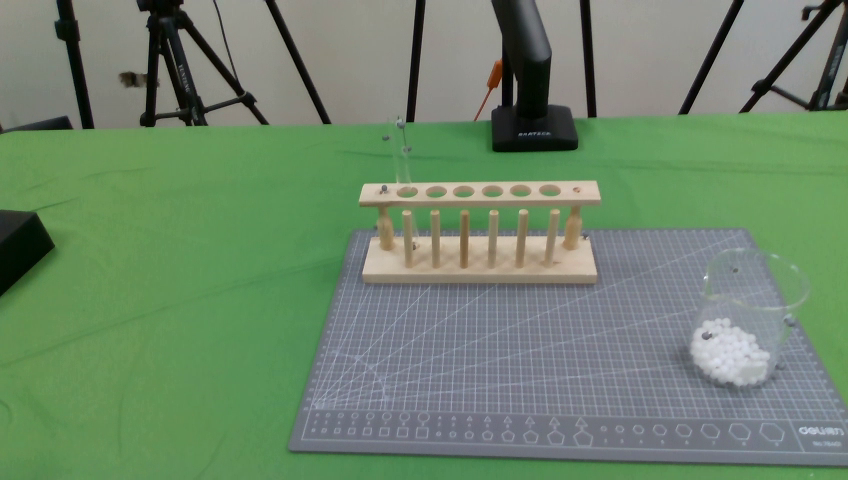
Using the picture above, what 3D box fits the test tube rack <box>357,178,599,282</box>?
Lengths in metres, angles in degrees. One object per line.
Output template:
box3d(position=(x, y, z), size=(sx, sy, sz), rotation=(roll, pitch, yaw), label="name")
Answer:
box3d(position=(0.054, -0.010, 0.631), size=(0.242, 0.086, 0.066), rotation=(0, 38, 5), label="test tube rack")

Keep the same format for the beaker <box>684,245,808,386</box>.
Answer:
box3d(position=(0.259, 0.066, 0.503), size=(0.084, 0.101, 0.073), rotation=(-12, 38, -8), label="beaker")

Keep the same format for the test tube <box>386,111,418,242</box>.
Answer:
box3d(position=(-0.022, -0.060, 0.622), size=(0.017, 0.151, 0.017), rotation=(-5, 35, 4), label="test tube")
